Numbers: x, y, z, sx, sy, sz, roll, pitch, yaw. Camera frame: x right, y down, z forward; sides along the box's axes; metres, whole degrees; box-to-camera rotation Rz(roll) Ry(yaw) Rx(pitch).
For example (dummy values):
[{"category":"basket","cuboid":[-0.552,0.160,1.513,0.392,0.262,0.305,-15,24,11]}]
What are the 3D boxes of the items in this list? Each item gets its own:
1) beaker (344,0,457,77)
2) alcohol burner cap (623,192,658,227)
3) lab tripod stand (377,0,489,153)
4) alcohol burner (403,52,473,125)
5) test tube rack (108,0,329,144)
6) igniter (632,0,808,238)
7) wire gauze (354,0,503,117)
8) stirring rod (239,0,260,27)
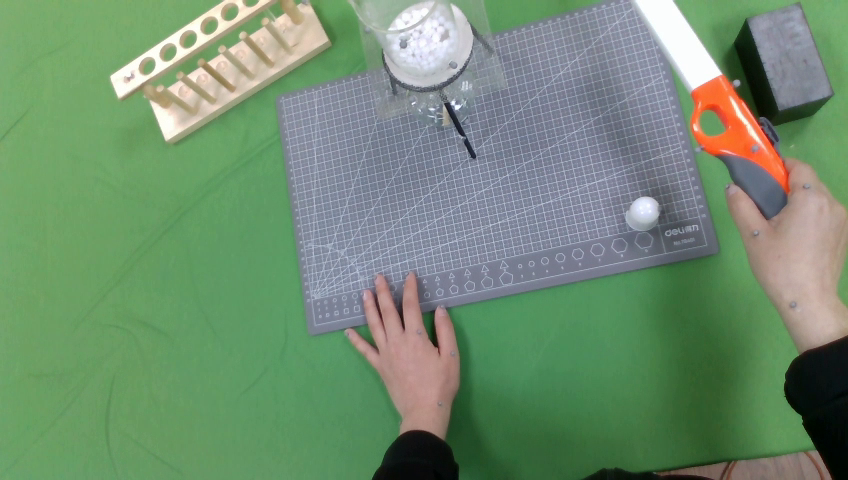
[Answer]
[{"category":"beaker","cuboid":[-0.016,-0.192,0.526,0.084,0.101,0.074,0,82,14]},{"category":"alcohol burner cap","cuboid":[0.220,-0.033,0.613,0.034,0.048,0.033,-2,80,13]},{"category":"lab tripod stand","cuboid":[0.016,-0.174,0.635,0.148,0.132,0.148,-2,82,11]},{"category":"alcohol burner","cuboid":[0.011,-0.168,0.645,0.078,0.120,0.077,-2,80,12]},{"category":"test tube rack","cuboid":[-0.246,-0.217,0.732,0.242,0.085,0.066,-30,76,7]},{"category":"igniter","cuboid":[0.249,-0.129,0.527,0.057,0.025,0.275,-28,76,12]},{"category":"wire gauze","cuboid":[0.001,-0.185,0.572,0.125,0.011,0.121,-13,82,9]},{"category":"stirring rod","cuboid":[-0.219,-0.289,0.656,0.006,0.177,0.014,-28,70,1]}]
